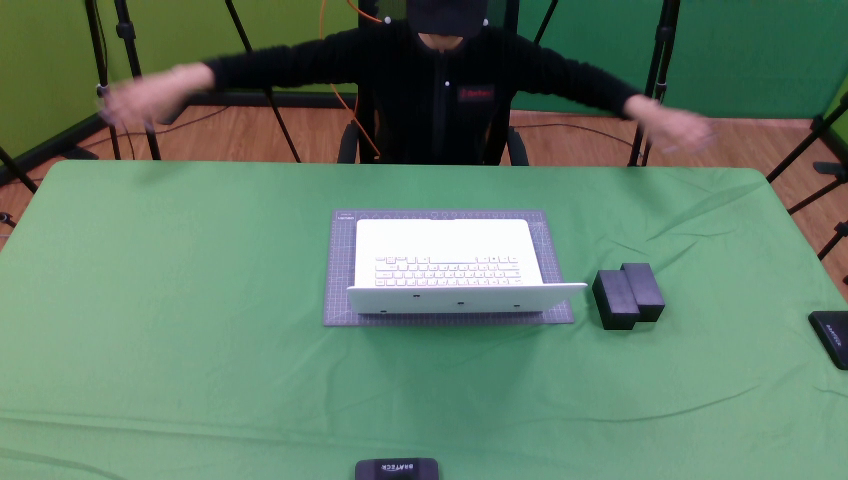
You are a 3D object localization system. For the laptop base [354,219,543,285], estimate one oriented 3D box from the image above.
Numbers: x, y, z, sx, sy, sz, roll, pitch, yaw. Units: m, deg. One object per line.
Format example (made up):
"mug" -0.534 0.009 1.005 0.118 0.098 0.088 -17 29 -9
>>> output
"laptop base" 0.043 0.044 1.162 0.355 0.023 0.234 0 43 -5

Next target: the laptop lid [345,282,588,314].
"laptop lid" 0.057 0.096 0.969 0.357 0.242 0.013 0 74 -6
